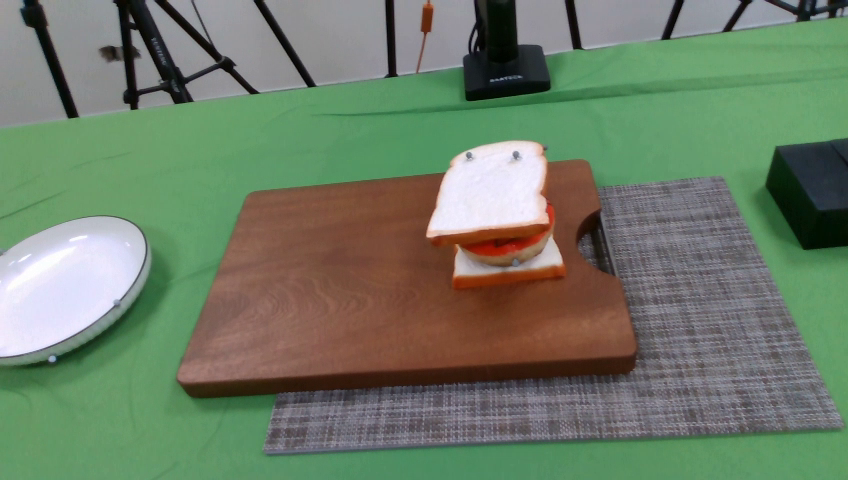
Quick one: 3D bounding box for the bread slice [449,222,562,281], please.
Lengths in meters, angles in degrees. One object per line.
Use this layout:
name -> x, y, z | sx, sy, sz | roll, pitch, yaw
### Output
bread slice -> 0.073, -0.016, 0.601 | 0.105, 0.019, 0.130 | -7, 45, 4

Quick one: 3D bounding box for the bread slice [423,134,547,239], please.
bread slice -> 0.059, -0.053, 0.557 | 0.107, 0.018, 0.133 | -8, 40, 17

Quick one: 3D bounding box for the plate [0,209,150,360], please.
plate -> -0.400, 0.047, 0.663 | 0.209, 0.038, 0.207 | -6, 44, 6

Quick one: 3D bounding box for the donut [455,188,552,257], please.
donut -> 0.070, -0.026, 0.569 | 0.099, 0.049, 0.098 | -7, 44, 7
